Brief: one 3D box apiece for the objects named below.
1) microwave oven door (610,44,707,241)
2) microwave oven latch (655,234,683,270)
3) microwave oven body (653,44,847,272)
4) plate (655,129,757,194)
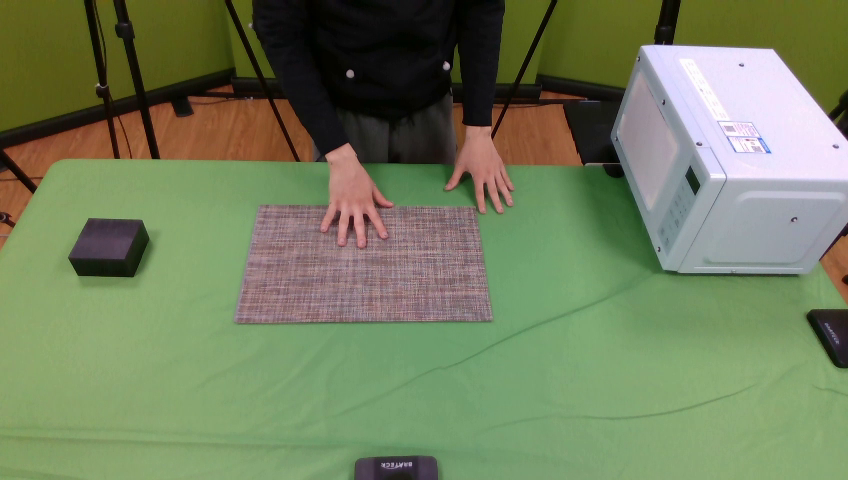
[{"bbox_3d":[0.474,-0.208,1.250,0.039,0.245,0.353,0,47,-3],"label":"microwave oven door"},{"bbox_3d":[0.473,0.021,1.175,0.030,0.029,0.078,2,46,-1],"label":"microwave oven latch"},{"bbox_3d":[0.620,-0.172,1.234,0.326,0.261,0.439,0,46,-3],"label":"microwave oven body"},{"bbox_3d":[0.600,-0.165,1.305,0.209,0.038,0.208,1,46,-1],"label":"plate"}]
